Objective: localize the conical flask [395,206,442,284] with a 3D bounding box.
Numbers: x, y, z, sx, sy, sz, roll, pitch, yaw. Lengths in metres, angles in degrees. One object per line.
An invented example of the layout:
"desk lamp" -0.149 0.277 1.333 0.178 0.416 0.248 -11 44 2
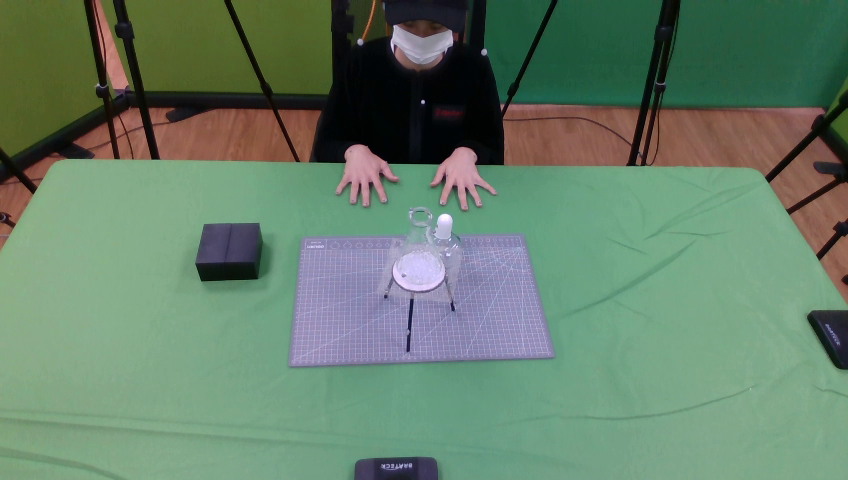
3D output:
"conical flask" -0.007 0.005 0.937 0.075 0.122 0.075 2 45 -1

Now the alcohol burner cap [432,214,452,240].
"alcohol burner cap" 0.035 -0.027 1.110 0.034 0.048 0.033 7 42 -6

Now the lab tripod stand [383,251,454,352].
"lab tripod stand" -0.015 0.094 1.025 0.148 0.132 0.147 1 46 -1

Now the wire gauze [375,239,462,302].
"wire gauze" -0.006 0.049 0.978 0.121 0.011 0.124 10 44 5

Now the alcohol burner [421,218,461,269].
"alcohol burner" 0.033 -0.001 1.135 0.078 0.119 0.077 3 48 -3
